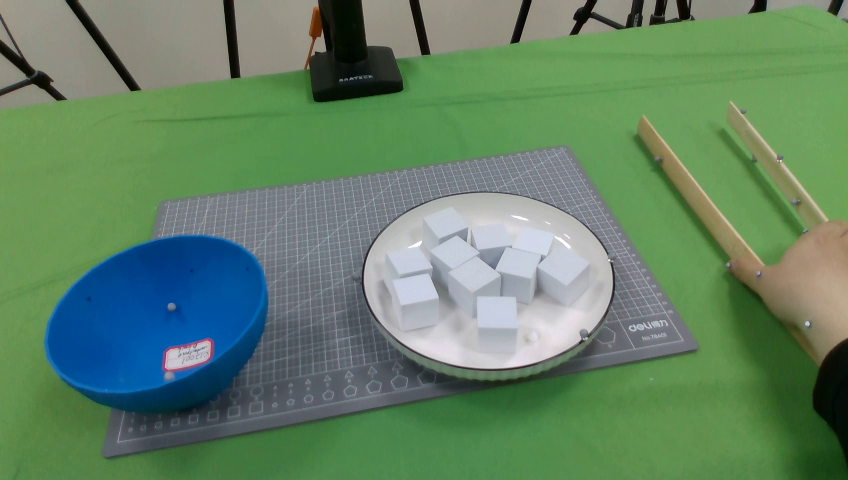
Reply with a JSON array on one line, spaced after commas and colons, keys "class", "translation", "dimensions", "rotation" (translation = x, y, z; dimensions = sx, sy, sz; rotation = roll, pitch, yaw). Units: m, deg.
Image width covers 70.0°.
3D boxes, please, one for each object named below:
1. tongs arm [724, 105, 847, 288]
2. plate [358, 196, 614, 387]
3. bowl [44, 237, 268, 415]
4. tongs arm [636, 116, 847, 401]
[{"class": "tongs arm", "translation": [0.339, -0.014, 0.557], "dimensions": [0.051, 0.027, 0.380], "rotation": [-5, 43, -1]}, {"class": "plate", "translation": [0.050, 0.040, 0.508], "dimensions": [0.207, 0.039, 0.205], "rotation": [-2, 41, 2]}, {"class": "bowl", "translation": [-0.185, 0.075, 0.453], "dimensions": [0.151, 0.077, 0.150], "rotation": [-2, 41, 2]}, {"class": "tongs arm", "translation": [0.282, -0.007, 0.557], "dimensions": [0.028, 0.028, 0.383], "rotation": [-7, 42, -7]}]
